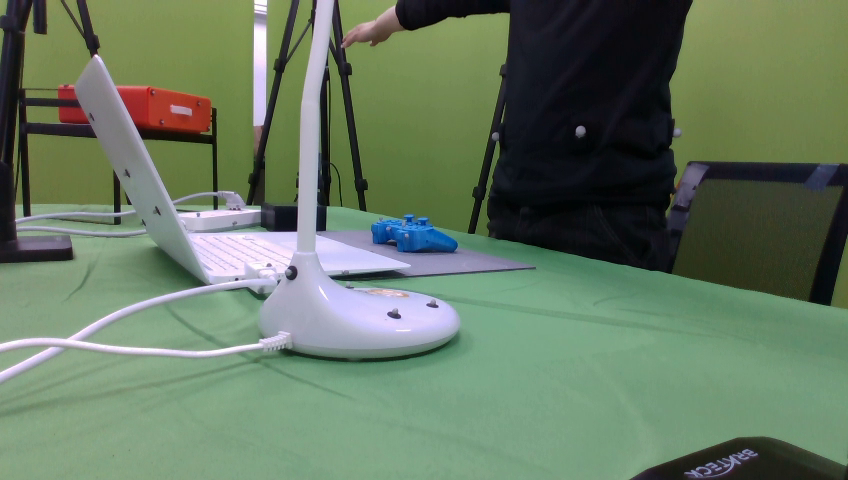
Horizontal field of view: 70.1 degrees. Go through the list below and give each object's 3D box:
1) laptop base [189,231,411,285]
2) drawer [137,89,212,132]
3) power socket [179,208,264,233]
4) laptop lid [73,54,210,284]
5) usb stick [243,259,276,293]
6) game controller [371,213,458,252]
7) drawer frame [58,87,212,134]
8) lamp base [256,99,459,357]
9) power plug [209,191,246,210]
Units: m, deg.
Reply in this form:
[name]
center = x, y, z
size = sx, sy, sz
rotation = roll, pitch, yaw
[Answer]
[laptop base]
center = -0.204, 0.019, 0.807
size = 0.237, 0.023, 0.352
rotation = 0, 7, -33
[drawer]
center = -0.588, -0.267, 1.260
size = 0.211, 0.073, 0.195
rotation = 3, 8, 15
[power socket]
center = -0.381, -0.038, 1.128
size = 0.072, 0.032, 0.227
rotation = 4, 8, 16
[laptop lid]
center = -0.341, -0.079, 0.704
size = 0.013, 0.242, 0.355
rotation = -30, 23, -26
[usb stick]
center = -0.166, 0.035, 0.604
size = 0.021, 0.027, 0.059
rotation = -7, 8, -28
[game controller]
center = -0.021, -0.014, 0.978
size = 0.097, 0.051, 0.154
rotation = -8, 11, -28
[drawer frame]
center = -0.593, -0.268, 1.260
size = 0.213, 0.082, 0.202
rotation = 4, 8, 14
[lamp base]
center = -0.055, -0.013, 0.463
size = 0.160, 0.180, 0.180
rotation = 6, 11, 27
[power plug]
center = -0.388, -0.071, 1.204
size = 0.072, 0.052, 0.035
rotation = 4, 8, 25
